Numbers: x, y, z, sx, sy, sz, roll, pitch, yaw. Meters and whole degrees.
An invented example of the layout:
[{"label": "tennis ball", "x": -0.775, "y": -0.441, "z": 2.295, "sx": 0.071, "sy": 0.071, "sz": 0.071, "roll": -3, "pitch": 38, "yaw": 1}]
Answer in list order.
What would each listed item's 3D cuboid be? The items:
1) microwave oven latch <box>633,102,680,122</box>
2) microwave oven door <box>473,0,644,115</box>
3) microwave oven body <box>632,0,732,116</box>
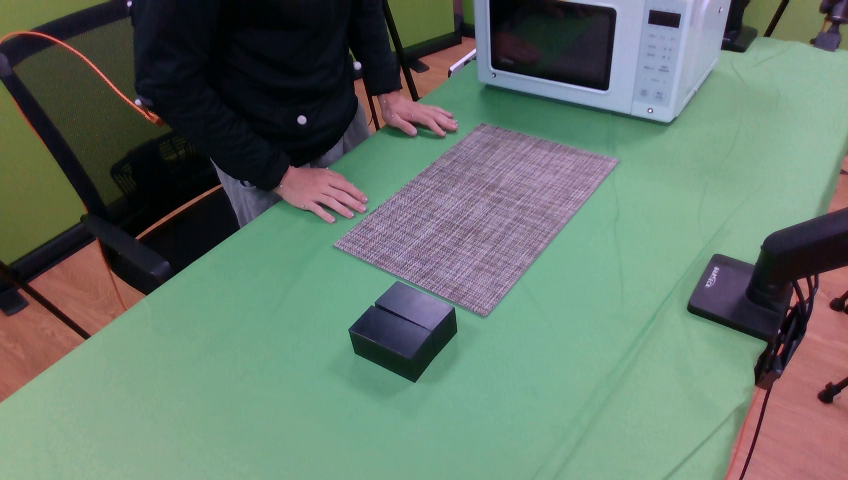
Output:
[{"label": "microwave oven latch", "x": 0.444, "y": -0.250, "z": 1.157, "sx": 0.078, "sy": 0.029, "sz": 0.030, "roll": 22, "pitch": 49, "yaw": 31}, {"label": "microwave oven door", "x": 0.257, "y": -0.396, "z": 1.199, "sx": 0.353, "sy": 0.245, "sz": 0.039, "roll": 21, "pitch": 48, "yaw": 29}, {"label": "microwave oven body", "x": 0.377, "y": -0.463, "z": 1.267, "sx": 0.438, "sy": 0.261, "sz": 0.327, "roll": 21, "pitch": 48, "yaw": 30}]
